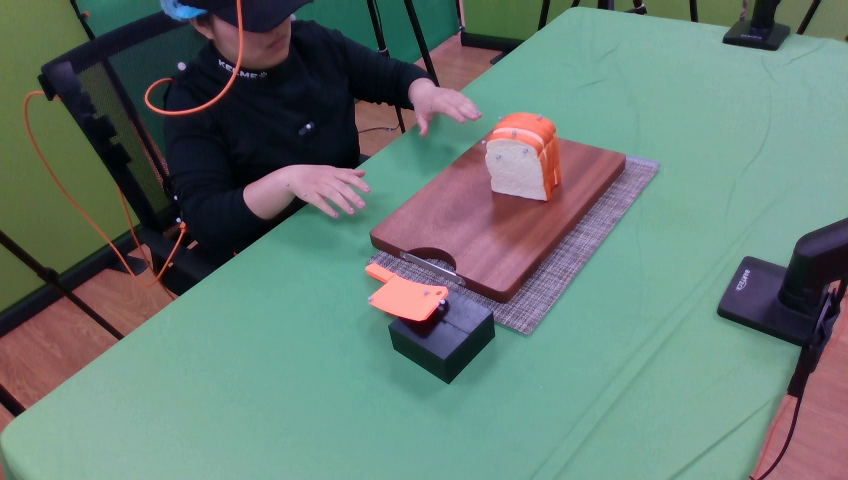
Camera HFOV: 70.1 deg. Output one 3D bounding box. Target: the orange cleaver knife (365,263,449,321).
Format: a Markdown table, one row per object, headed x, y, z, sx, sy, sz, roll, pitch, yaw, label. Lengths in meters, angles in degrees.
| x | y | z | sx | sy | sz | roll | pitch | yaw | label |
| --- | --- | --- | --- | --- | --- | --- | --- | --- | --- |
| -0.042 | 0.072 | 0.870 | 0.077 | 0.012 | 0.209 | -37 | 28 | -23 | orange cleaver knife |

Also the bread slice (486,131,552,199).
| x | y | z | sx | sy | sz | roll | pitch | yaw | label |
| --- | --- | --- | --- | --- | --- | --- | --- | --- | --- |
| 0.149 | -0.119 | 0.973 | 0.104 | 0.132 | 0.019 | 11 | 54 | 27 | bread slice |

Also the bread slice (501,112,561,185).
| x | y | z | sx | sy | sz | roll | pitch | yaw | label |
| --- | --- | --- | --- | --- | --- | --- | --- | --- | --- |
| 0.176 | -0.150 | 1.002 | 0.106 | 0.135 | 0.018 | 16 | 52 | 23 | bread slice |
